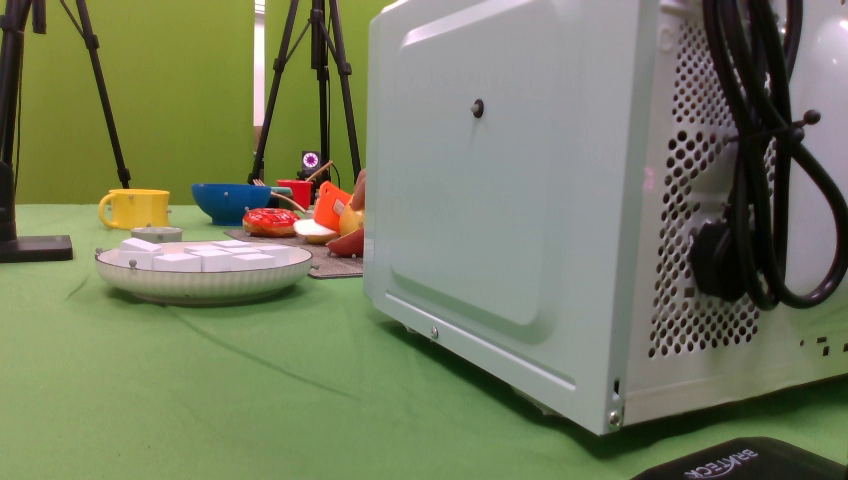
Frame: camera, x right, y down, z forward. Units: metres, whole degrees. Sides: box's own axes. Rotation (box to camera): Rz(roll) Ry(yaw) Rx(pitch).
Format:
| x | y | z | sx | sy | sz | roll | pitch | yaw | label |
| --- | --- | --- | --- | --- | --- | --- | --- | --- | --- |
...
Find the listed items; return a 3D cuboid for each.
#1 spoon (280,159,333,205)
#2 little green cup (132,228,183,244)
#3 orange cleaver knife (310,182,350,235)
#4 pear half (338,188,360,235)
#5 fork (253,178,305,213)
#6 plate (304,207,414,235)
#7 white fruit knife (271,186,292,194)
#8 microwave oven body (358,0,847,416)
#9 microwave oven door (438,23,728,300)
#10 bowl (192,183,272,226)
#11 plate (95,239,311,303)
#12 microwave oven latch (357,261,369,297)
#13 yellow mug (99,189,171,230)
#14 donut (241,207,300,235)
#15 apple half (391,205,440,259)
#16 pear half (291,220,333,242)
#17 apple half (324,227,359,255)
| x | y | z | sx | sy | sz | roll | pitch | yaw | label |
| --- | --- | --- | --- | --- | --- | --- | --- | --- | --- |
| -0.316 | -0.159 | 1.639 | 0.194 | 0.022 | 0.041 | -49 | 33 | -20 | spoon |
| -0.342 | 0.006 | 0.779 | 0.061 | 0.038 | 0.061 | 2 | 8 | 0 | little green cup |
| -0.107 | -0.041 | 0.959 | 0.012 | 0.077 | 0.212 | 4 | -3 | 31 | orange cleaver knife |
| -0.087 | -0.042 | 0.922 | 0.055 | 0.110 | 0.077 | 11 | 13 | 34 | pear half |
| -0.294 | -0.084 | 1.293 | 0.206 | 0.018 | 0.028 | 29 | 12 | 26 | fork |
| -0.123 | -0.037 | 1.149 | 0.209 | 0.038 | 0.209 | 2 | 7 | 0 | plate |
| -0.399 | -0.111 | 1.368 | 0.208 | 0.016 | 0.027 | -4 | -20 | -29 | white fruit knife |
| 0.211 | -0.047 | 0.474 | 0.444 | 0.260 | 0.324 | -1 | 7 | -28 | microwave oven body |
| 0.181 | -0.072 | 0.621 | 0.358 | 0.243 | 0.039 | -2 | 8 | -29 | microwave oven door |
| -0.381 | -0.071 | 1.202 | 0.151 | 0.077 | 0.151 | 3 | 7 | 0 | bowl |
| -0.224 | 0.031 | 0.629 | 0.208 | 0.039 | 0.207 | 2 | 7 | 0 | plate |
| -0.019 | 0.033 | 0.531 | 0.079 | 0.029 | 0.030 | -1 | 7 | -27 | microwave oven latch |
| -0.519 | -0.055 | 1.080 | 0.099 | 0.064 | 0.131 | 7 | 10 | 26 | yellow mug |
| -0.263 | -0.031 | 1.039 | 0.099 | 0.048 | 0.099 | 4 | 10 | 0 | donut |
| -0.005 | -0.009 | 0.837 | 0.053 | 0.074 | 0.081 | 10 | 6 | 23 | apple half |
| -0.175 | -0.014 | 0.976 | 0.087 | 0.031 | 0.070 | -1 | 17 | 32 | pear half |
| -0.095 | 0.002 | 0.848 | 0.081 | 0.033 | 0.081 | -20 | 0 | 0 | apple half |
